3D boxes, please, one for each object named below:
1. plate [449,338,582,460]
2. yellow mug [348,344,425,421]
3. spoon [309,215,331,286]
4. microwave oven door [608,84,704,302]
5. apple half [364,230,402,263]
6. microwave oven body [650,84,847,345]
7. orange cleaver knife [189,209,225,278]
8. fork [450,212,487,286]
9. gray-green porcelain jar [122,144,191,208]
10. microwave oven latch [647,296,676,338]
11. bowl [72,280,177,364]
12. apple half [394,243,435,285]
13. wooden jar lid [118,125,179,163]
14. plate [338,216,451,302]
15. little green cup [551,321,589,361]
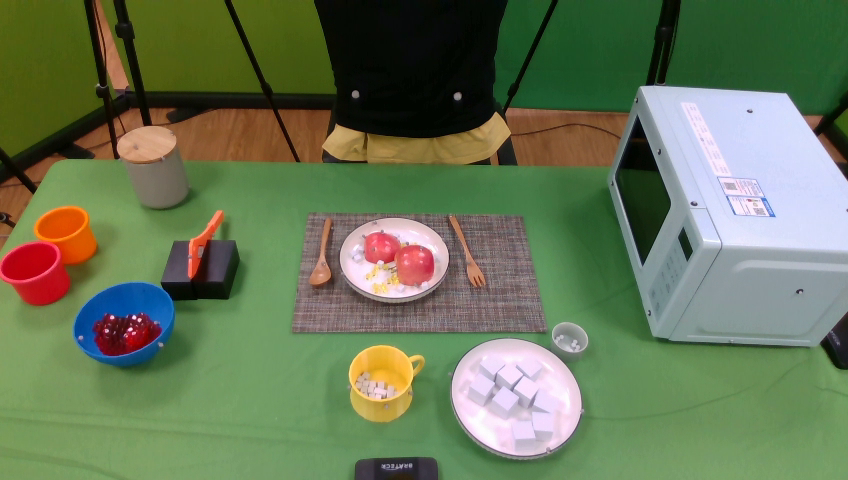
[{"bbox_3d":[0.141,0.251,0.956,0.208,0.039,0.206,2,46,-2],"label":"plate"},{"bbox_3d":[-0.054,0.217,0.954,0.131,0.064,0.099,-24,53,-25],"label":"yellow mug"},{"bbox_3d":[-0.191,0.016,1.159,0.041,0.022,0.192,-14,46,13],"label":"spoon"},{"bbox_3d":[0.424,-0.096,1.138,0.039,0.245,0.353,3,46,-1],"label":"microwave oven door"},{"bbox_3d":[-0.079,0.005,1.159,0.081,0.033,0.081,3,49,-3],"label":"apple half"},{"bbox_3d":[0.569,-0.054,1.116,0.326,0.261,0.439,2,46,-1],"label":"microwave oven body"},{"bbox_3d":[-0.400,0.002,1.122,0.012,0.077,0.210,4,23,-4],"label":"orange cleaver knife"},{"bbox_3d":[0.082,0.014,1.183,0.028,0.019,0.206,-17,50,-2],"label":"fork"},{"bbox_3d":[-0.531,-0.137,1.214,0.106,0.127,0.105,2,46,-2],"label":"gray-green porcelain jar"},{"bbox_3d":[0.413,0.133,1.060,0.030,0.029,0.078,4,46,1],"label":"microwave oven latch"},{"bbox_3d":[-0.472,0.147,0.982,0.151,0.077,0.150,2,46,-2],"label":"bowl"},{"bbox_3d":[-0.016,0.037,1.120,0.075,0.053,0.080,1,46,-6],"label":"apple half"},{"bbox_3d":[-0.528,-0.181,1.167,0.108,0.021,0.107,4,48,-4],"label":"wooden jar lid"},{"bbox_3d":[-0.054,0.038,1.138,0.209,0.038,0.208,2,46,-2],"label":"plate"},{"bbox_3d":[0.247,0.175,1.033,0.061,0.039,0.061,2,45,-2],"label":"little green cup"}]
